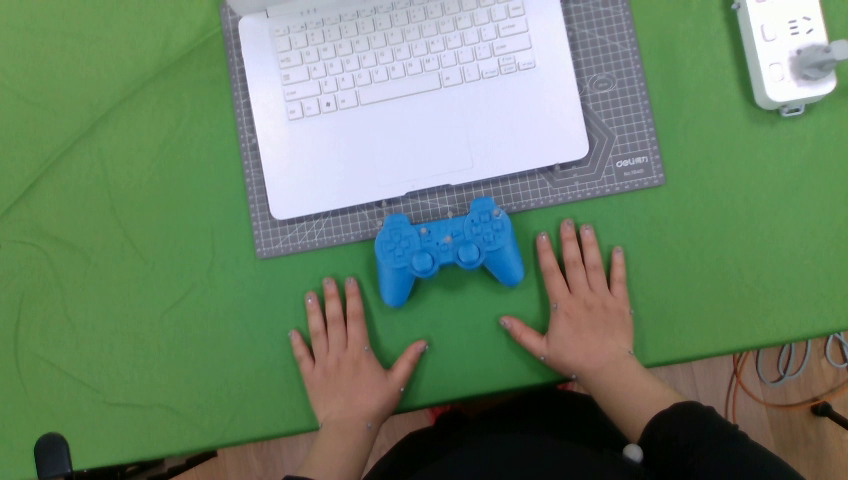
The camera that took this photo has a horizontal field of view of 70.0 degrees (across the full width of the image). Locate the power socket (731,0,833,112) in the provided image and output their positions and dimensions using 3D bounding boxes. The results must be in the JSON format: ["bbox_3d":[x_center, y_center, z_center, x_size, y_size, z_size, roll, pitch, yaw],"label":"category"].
[{"bbox_3d":[0.362,-0.247,0.628,0.072,0.032,0.226,-9,85,6],"label":"power socket"}]

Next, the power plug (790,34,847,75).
[{"bbox_3d":[0.402,-0.181,0.600,0.072,0.053,0.035,2,85,2],"label":"power plug"}]

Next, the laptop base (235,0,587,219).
[{"bbox_3d":[-0.019,-0.171,0.666,0.354,0.023,0.235,-12,88,4],"label":"laptop base"}]

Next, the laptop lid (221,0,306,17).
[{"bbox_3d":[-0.058,-0.313,0.561,0.356,0.243,0.013,-12,76,6],"label":"laptop lid"}]

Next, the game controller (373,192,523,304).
[{"bbox_3d":[0.022,0.007,0.634,0.155,0.052,0.097,-11,83,4],"label":"game controller"}]
